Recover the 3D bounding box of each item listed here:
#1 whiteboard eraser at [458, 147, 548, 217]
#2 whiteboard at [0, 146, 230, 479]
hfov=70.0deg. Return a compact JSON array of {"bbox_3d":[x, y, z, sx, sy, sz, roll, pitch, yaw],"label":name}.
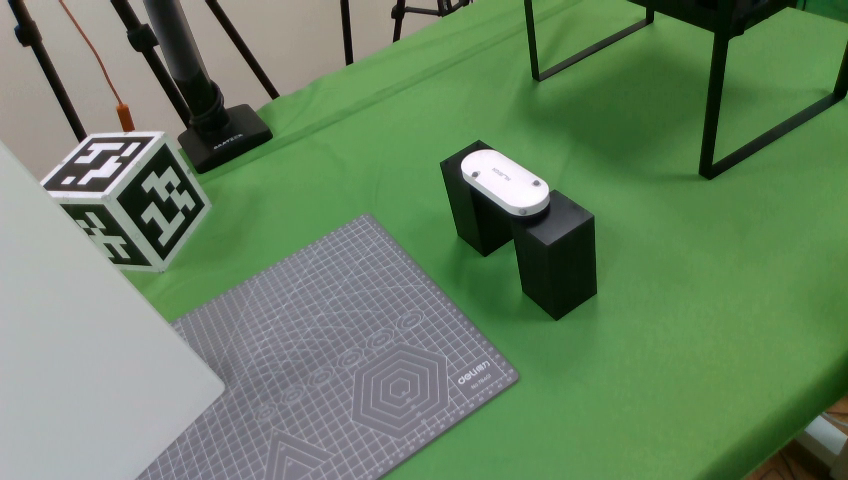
[{"bbox_3d":[0.069,-0.054,0.542,0.041,0.019,0.100,-31,46,-17],"label":"whiteboard eraser"},{"bbox_3d":[-0.363,0.092,0.510,0.143,0.308,0.216,6,46,50],"label":"whiteboard"}]
